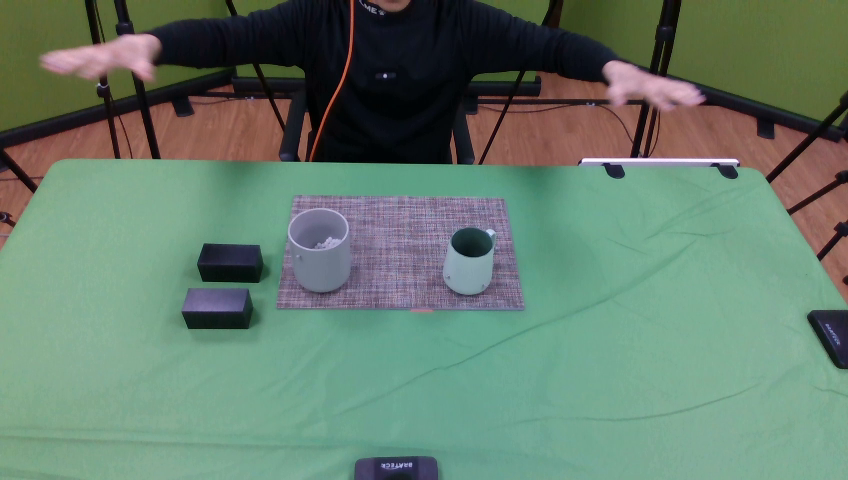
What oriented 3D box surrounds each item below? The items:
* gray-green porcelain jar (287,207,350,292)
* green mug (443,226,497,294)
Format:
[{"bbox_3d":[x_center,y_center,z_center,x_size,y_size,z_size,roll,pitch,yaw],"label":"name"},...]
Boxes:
[{"bbox_3d":[-0.185,0.022,1.084,0.106,0.127,0.105,2,47,-2],"label":"gray-green porcelain jar"},{"bbox_3d":[0.093,0.028,1.114,0.092,0.105,0.125,31,52,23],"label":"green mug"}]
